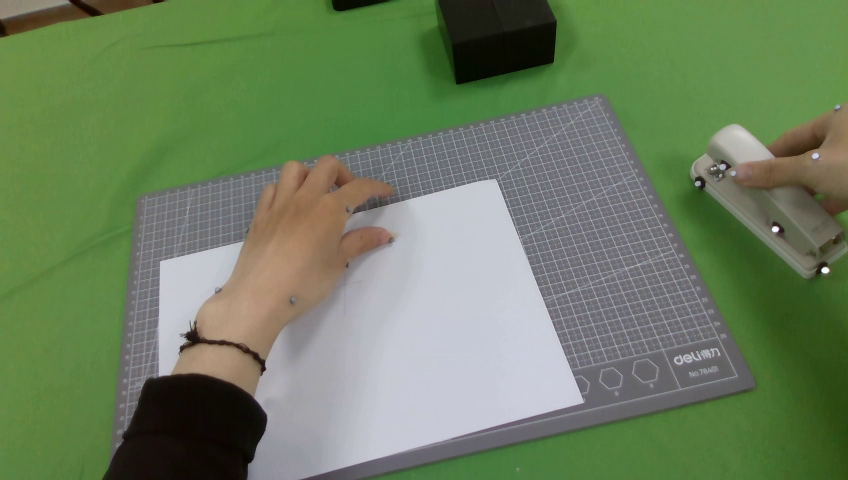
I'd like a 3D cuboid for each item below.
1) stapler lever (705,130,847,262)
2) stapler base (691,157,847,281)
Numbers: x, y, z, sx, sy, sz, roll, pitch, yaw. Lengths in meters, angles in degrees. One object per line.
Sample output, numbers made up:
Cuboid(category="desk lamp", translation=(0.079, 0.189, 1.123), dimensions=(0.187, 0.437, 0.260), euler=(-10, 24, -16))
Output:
Cuboid(category="stapler lever", translation=(0.260, -0.037, 0.451), dimensions=(0.027, 0.040, 0.117), euler=(-38, 58, 3))
Cuboid(category="stapler base", translation=(0.267, -0.028, 0.472), dimensions=(0.041, 0.025, 0.129), euler=(-38, 60, 3))
